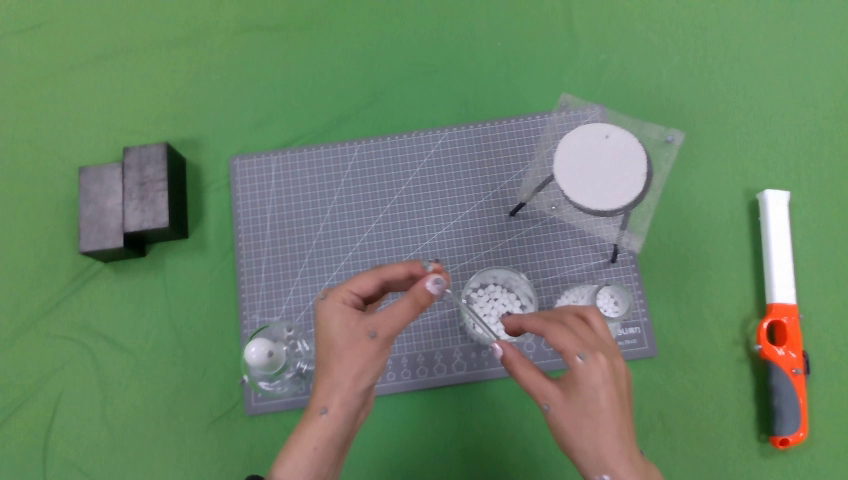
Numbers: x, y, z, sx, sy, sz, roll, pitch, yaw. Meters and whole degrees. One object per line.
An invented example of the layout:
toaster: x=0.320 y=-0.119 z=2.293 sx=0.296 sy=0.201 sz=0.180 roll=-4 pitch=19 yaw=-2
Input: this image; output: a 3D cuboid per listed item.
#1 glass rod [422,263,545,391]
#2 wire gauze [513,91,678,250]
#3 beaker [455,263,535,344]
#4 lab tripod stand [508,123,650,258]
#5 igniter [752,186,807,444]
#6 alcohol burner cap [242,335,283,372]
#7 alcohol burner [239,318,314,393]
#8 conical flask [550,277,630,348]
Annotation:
glass rod: x=0.055 y=0.078 z=0.499 sx=0.008 sy=0.202 sz=0.008 roll=-25 pitch=40 yaw=23
wire gauze: x=0.160 y=-0.069 z=0.566 sx=0.125 sy=0.011 sz=0.121 roll=23 pitch=81 yaw=8
beaker: x=0.072 y=0.071 z=0.623 sx=0.074 sy=0.100 sz=0.083 roll=-43 pitch=80 yaw=-7
lab tripod stand: x=0.166 y=-0.052 z=0.631 sx=0.148 sy=0.132 sz=0.147 roll=-1 pitch=78 yaw=3
igniter: x=0.380 y=0.076 z=0.652 sx=0.057 sy=0.025 sz=0.275 roll=5 pitch=77 yaw=-8
alcohol burner cap: x=-0.156 y=0.106 z=0.578 sx=0.034 sy=0.048 sz=0.033 roll=0 pitch=70 yaw=0
alcohol burner: x=-0.154 y=0.116 z=0.613 sx=0.078 sy=0.119 sz=0.077 roll=-1 pitch=78 yaw=3
conical flask: x=0.172 y=0.067 z=0.609 sx=0.075 sy=0.122 sz=0.075 roll=0 pitch=77 yaw=2
